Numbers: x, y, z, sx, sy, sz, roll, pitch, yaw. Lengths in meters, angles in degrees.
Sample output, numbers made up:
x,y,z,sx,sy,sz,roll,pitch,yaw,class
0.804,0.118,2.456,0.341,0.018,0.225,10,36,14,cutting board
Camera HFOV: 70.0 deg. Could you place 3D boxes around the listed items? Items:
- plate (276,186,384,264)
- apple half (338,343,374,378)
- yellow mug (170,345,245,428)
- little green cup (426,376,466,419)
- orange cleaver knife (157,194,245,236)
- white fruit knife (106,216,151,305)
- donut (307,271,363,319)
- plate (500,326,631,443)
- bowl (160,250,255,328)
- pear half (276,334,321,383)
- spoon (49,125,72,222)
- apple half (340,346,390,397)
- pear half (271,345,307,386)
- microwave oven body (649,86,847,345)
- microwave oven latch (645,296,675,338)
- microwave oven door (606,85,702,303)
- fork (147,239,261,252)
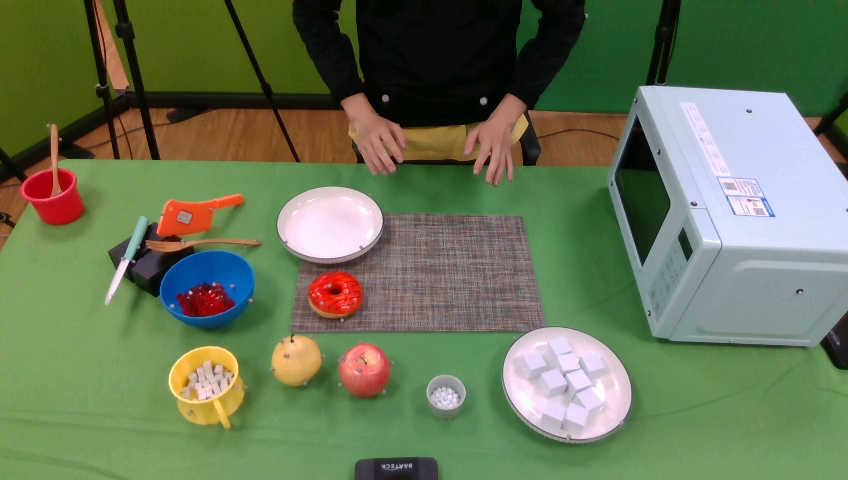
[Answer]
x,y,z,sx,sy,sz,roll,pitch,yaw,class
-0.184,-0.027,1.195,0.209,0.038,0.208,2,46,-2,plate
-0.112,0.192,0.968,0.081,0.081,0.032,-32,59,-29,apple half
-0.322,0.230,0.922,0.100,0.064,0.130,-24,53,-25,yellow mug
0.033,0.248,0.950,0.061,0.039,0.061,2,46,-2,little green cup
-0.427,-0.050,1.175,0.012,0.077,0.211,22,19,21,orange cleaver knife
-0.519,0.032,1.066,0.027,0.016,0.206,-18,45,19,white fruit knife
-0.157,0.097,1.073,0.099,0.048,0.098,4,45,-3,donut
0.224,0.234,0.978,0.208,0.039,0.206,2,46,-2,plate
-0.362,0.097,1.040,0.151,0.077,0.150,2,45,-2,bowl
-0.195,0.172,0.957,0.076,0.110,0.056,27,51,16,pear half
-0.717,-0.132,1.189,0.041,0.021,0.193,-3,90,-7,spoon
-0.085,0.214,0.950,0.081,0.075,0.053,-29,58,-32,apple half
-0.216,0.200,0.943,0.070,0.088,0.031,27,49,15,pear half
0.567,-0.053,1.118,0.326,0.261,0.439,2,45,-1,microwave oven body
0.412,0.134,1.061,0.030,0.029,0.078,3,45,0,microwave oven latch
0.423,-0.094,1.140,0.039,0.245,0.353,2,46,-1,microwave oven door
-0.399,0.007,1.118,0.208,0.019,0.028,-4,36,-36,fork
